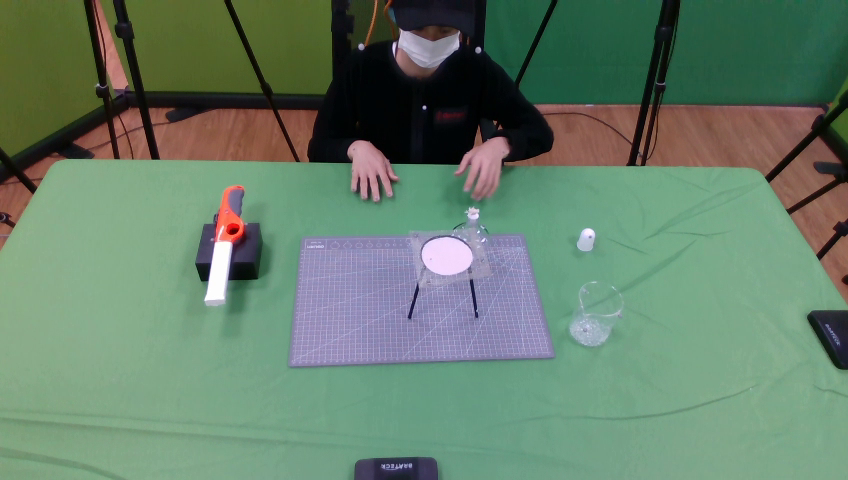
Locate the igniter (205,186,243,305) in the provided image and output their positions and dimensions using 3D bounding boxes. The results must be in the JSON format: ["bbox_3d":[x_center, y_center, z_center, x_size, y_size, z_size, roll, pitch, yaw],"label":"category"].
[{"bbox_3d":[-0.361,0.001,1.100,0.057,0.025,0.274,-2,49,-6],"label":"igniter"}]

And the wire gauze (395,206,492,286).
[{"bbox_3d":[0.031,0.010,0.993,0.125,0.011,0.120,-24,57,-17],"label":"wire gauze"}]

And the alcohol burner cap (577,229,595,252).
[{"bbox_3d":[0.326,-0.002,1.213,0.034,0.048,0.033,1,47,-1],"label":"alcohol burner cap"}]

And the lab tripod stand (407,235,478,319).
[{"bbox_3d":[0.032,0.065,1.057,0.148,0.132,0.147,1,45,-1],"label":"lab tripod stand"}]

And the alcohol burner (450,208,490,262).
[{"bbox_3d":[0.088,-0.015,1.153,0.078,0.120,0.077,1,47,-1],"label":"alcohol burner"}]

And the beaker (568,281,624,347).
[{"bbox_3d":[0.290,0.132,1.041,0.084,0.101,0.073,-34,57,-30],"label":"beaker"}]
